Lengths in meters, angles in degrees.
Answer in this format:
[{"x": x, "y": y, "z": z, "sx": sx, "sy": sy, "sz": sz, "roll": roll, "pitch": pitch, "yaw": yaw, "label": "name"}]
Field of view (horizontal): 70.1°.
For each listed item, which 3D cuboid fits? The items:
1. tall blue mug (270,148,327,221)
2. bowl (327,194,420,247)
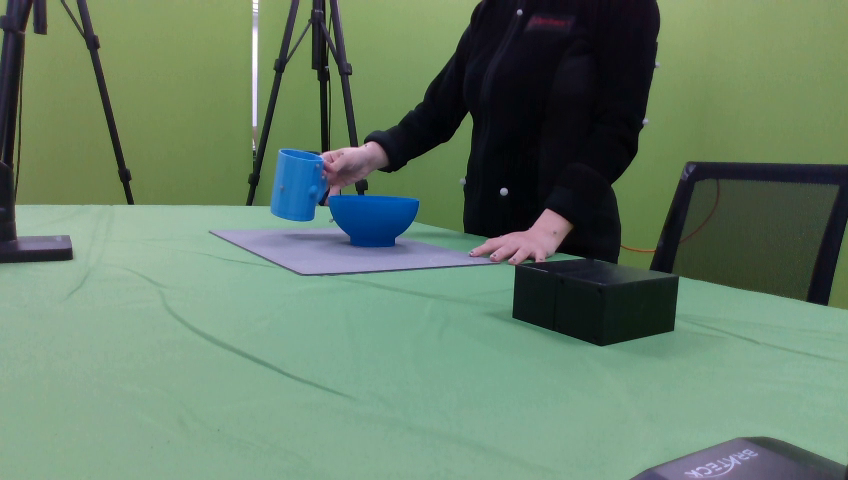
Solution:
[{"x": -0.217, "y": -0.100, "z": 1.055, "sx": 0.078, "sy": 0.108, "sz": 0.107, "roll": 12, "pitch": 16, "yaw": -1, "label": "tall blue mug"}, {"x": -0.083, "y": -0.032, "z": 0.987, "sx": 0.151, "sy": 0.077, "sz": 0.151, "roll": 3, "pitch": 7, "yaw": 0, "label": "bowl"}]
